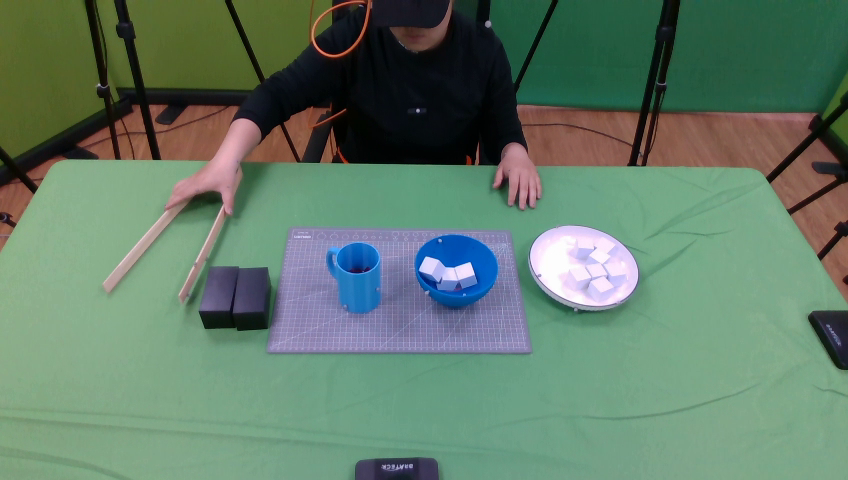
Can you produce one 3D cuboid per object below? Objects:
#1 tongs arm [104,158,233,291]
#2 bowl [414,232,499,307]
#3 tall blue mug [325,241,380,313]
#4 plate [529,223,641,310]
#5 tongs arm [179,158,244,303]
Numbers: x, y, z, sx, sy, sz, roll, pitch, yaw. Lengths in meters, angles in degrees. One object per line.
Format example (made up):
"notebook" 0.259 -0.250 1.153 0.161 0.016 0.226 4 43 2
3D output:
"tongs arm" -0.496 -0.044 1.199 0.028 0.028 0.386 11 46 17
"bowl" 0.056 0.067 1.093 0.151 0.077 0.150 2 46 -2
"tall blue mug" -0.130 0.063 1.062 0.107 0.108 0.077 9 47 5
"plate" 0.303 0.053 1.156 0.209 0.038 0.208 2 46 -1
"tongs arm" -0.420 -0.033 1.189 0.051 0.026 0.382 4 46 6
